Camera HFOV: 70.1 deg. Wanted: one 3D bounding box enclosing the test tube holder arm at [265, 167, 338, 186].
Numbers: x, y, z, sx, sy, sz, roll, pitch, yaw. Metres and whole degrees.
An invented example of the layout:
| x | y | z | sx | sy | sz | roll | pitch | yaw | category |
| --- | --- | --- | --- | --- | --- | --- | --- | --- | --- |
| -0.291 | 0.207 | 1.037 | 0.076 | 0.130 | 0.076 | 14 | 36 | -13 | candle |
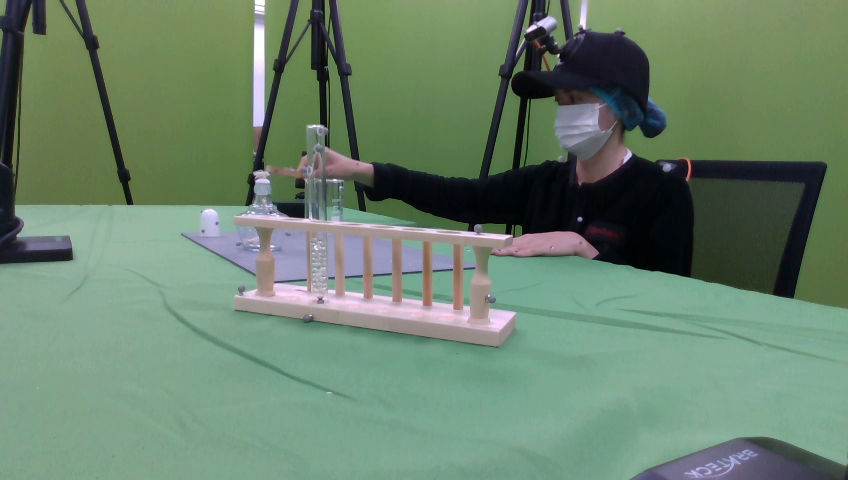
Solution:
| x | y | z | sx | sy | sz | roll | pitch | yaw | category |
| --- | --- | --- | --- | --- | --- | --- | --- | --- | --- |
| -0.248 | -0.131 | 1.247 | 0.013 | 0.015 | 0.179 | 11 | 3 | 41 | test tube holder arm |

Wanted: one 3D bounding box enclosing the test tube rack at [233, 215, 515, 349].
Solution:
| x | y | z | sx | sy | sz | roll | pitch | yaw | category |
| --- | --- | --- | --- | --- | --- | --- | --- | --- | --- |
| -0.045 | 0.029 | 0.526 | 0.242 | 0.085 | 0.067 | 5 | 8 | 19 | test tube rack |

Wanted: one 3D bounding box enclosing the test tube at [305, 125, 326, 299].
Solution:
| x | y | z | sx | sy | sz | roll | pitch | yaw | category |
| --- | --- | --- | --- | --- | --- | --- | --- | --- | --- |
| -0.093 | -0.023 | 0.520 | 0.017 | 0.150 | 0.017 | 0 | 7 | 0 | test tube |

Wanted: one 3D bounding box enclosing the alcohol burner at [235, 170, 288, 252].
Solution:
| x | y | z | sx | sy | sz | roll | pitch | yaw | category |
| --- | --- | --- | --- | --- | --- | --- | --- | --- | --- |
| -0.236 | -0.042 | 0.882 | 0.078 | 0.119 | 0.078 | 2 | 9 | 0 | alcohol burner |

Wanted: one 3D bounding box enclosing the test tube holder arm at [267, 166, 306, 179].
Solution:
| x | y | z | sx | sy | sz | roll | pitch | yaw | category |
| --- | --- | --- | --- | --- | --- | --- | --- | --- | --- |
| -0.274 | -0.134 | 1.208 | 0.010 | 0.015 | 0.088 | 10 | 3 | 40 | test tube holder arm |

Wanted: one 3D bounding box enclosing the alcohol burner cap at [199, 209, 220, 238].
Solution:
| x | y | z | sx | sy | sz | roll | pitch | yaw | category |
| --- | --- | --- | --- | --- | --- | --- | --- | --- | --- |
| -0.356 | -0.027 | 1.002 | 0.034 | 0.048 | 0.034 | 2 | 7 | 0 | alcohol burner cap |

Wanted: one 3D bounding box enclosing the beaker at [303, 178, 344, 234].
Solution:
| x | y | z | sx | sy | sz | roll | pitch | yaw | category |
| --- | --- | --- | --- | --- | --- | --- | --- | --- | --- |
| -0.189 | -0.063 | 1.119 | 0.073 | 0.100 | 0.084 | 6 | 9 | 28 | beaker |
